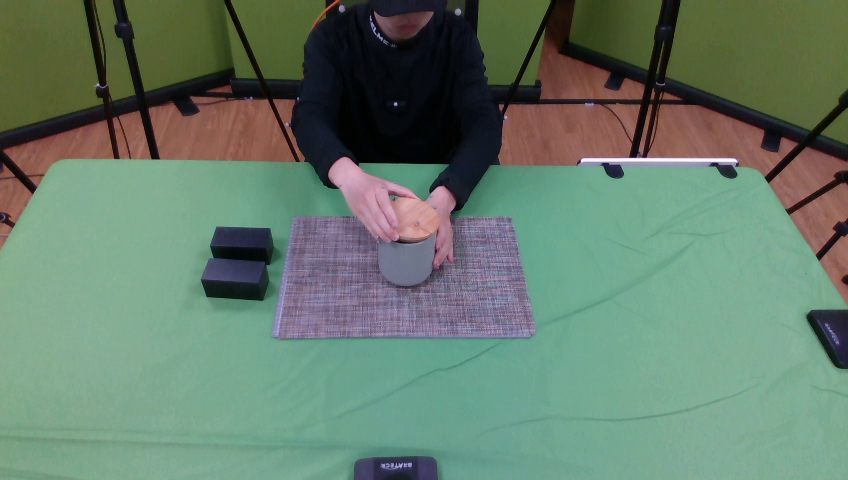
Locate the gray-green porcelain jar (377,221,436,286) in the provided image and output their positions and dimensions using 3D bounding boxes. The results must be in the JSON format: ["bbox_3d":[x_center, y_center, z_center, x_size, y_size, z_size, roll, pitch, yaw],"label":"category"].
[{"bbox_3d":[-0.033,0.014,1.106,0.106,0.127,0.105,2,46,-2],"label":"gray-green porcelain jar"}]

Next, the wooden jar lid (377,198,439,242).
[{"bbox_3d":[-0.028,-0.033,1.053,0.108,0.021,0.107,6,41,-5],"label":"wooden jar lid"}]
